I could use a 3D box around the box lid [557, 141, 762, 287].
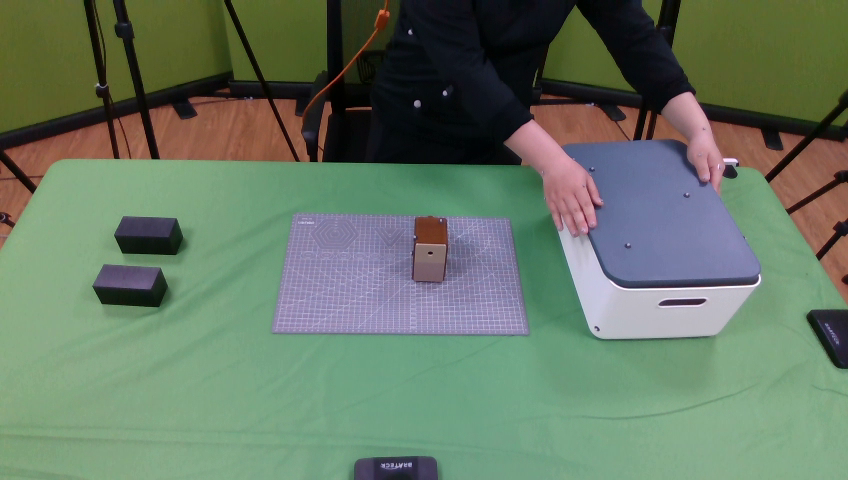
[{"bbox_3d":[0.402,-0.060,1.078,0.263,0.015,0.369,-2,45,-5],"label":"box lid"}]

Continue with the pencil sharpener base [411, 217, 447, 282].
[{"bbox_3d":[0.009,0.017,1.118,0.061,0.107,0.076,2,45,-2],"label":"pencil sharpener base"}]

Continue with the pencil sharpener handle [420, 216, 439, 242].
[{"bbox_3d":[0.007,-0.028,1.145,0.036,0.068,0.030,6,45,-6],"label":"pencil sharpener handle"}]

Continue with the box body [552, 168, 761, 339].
[{"bbox_3d":[0.402,0.001,1.129,0.254,0.161,0.361,-1,46,-5],"label":"box body"}]
